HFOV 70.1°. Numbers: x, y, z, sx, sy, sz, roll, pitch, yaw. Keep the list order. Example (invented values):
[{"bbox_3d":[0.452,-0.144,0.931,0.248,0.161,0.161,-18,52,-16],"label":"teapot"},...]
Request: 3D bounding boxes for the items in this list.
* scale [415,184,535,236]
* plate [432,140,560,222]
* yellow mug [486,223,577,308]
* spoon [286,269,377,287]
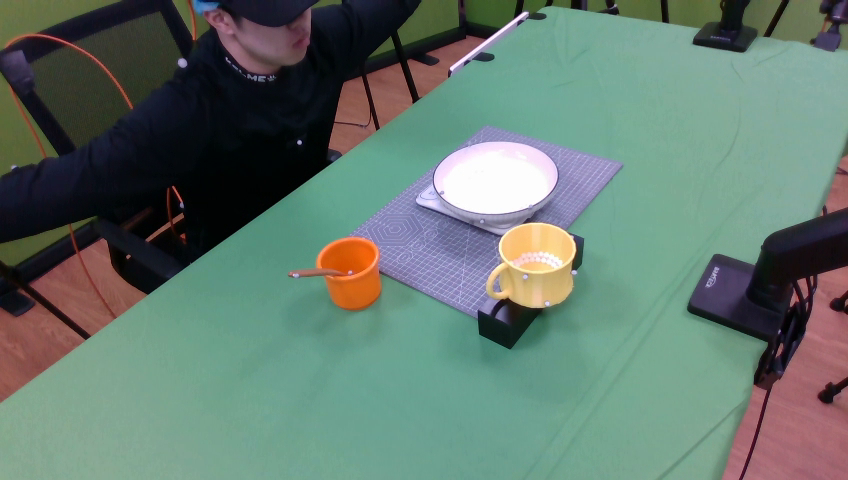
[{"bbox_3d":[0.099,-0.080,1.035,0.199,0.032,0.149,23,48,31],"label":"scale"},{"bbox_3d":[0.118,-0.094,0.999,0.209,0.038,0.208,-4,41,4],"label":"plate"},{"bbox_3d":[0.136,0.038,0.793,0.131,0.064,0.099,-25,43,-19],"label":"yellow mug"},{"bbox_3d":[-0.125,0.049,0.831,0.041,0.195,0.021,22,92,28],"label":"spoon"}]
